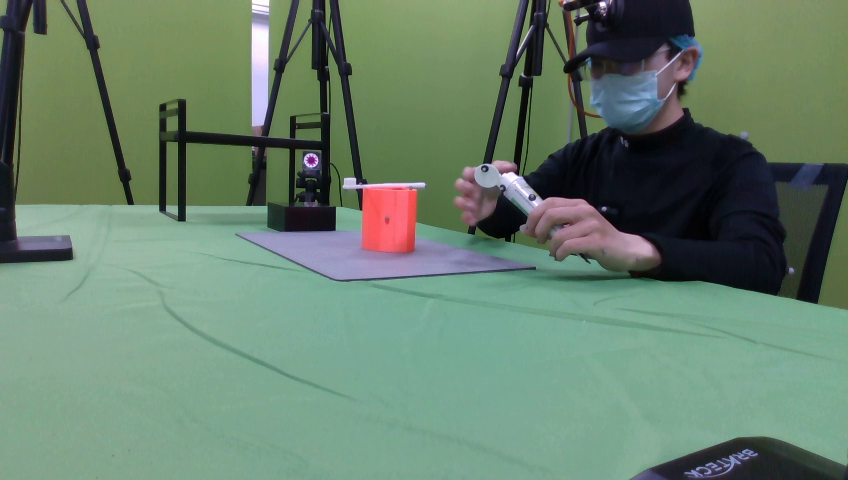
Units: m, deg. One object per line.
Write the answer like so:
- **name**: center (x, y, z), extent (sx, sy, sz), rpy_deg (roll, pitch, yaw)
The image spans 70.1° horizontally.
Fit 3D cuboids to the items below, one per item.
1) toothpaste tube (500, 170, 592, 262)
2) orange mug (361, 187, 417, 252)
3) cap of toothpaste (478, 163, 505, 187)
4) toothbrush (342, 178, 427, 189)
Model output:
- **toothpaste tube**: center (0.158, -0.032, 0.791), extent (0.164, 0.034, 0.055), rpy_deg (49, 20, 18)
- **orange mug**: center (-0.054, -0.039, 0.962), extent (0.083, 0.101, 0.126), rpy_deg (2, 12, 0)
- **cap of toothpaste**: center (0.089, -0.088, 0.802), extent (0.037, 0.037, 0.011), rpy_deg (5, 38, 17)
- **toothbrush**: center (-0.058, -0.089, 0.948), extent (0.014, 0.016, 0.183), rpy_deg (5, 8, 41)
